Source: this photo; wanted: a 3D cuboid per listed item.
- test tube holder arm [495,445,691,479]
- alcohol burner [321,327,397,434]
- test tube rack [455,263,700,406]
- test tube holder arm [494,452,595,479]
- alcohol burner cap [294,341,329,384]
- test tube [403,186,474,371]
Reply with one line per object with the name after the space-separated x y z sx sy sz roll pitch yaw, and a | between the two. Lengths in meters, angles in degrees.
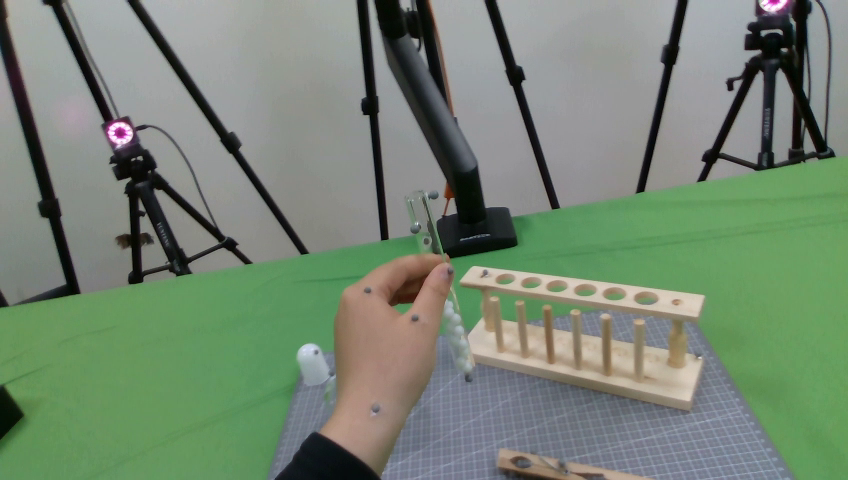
0.145 0.189 0.498 0.177 0.015 0.013 1 64 24 | test tube holder arm
-0.068 0.133 0.597 0.078 0.120 0.077 -9 29 5 | alcohol burner
0.145 0.088 0.618 0.241 0.086 0.066 6 33 33 | test tube rack
0.103 0.193 0.513 0.087 0.015 0.010 2 65 24 | test tube holder arm
-0.131 0.137 0.694 0.034 0.048 0.033 -9 29 5 | alcohol burner cap
0.013 0.032 0.433 0.017 0.151 0.017 -14 24 7 | test tube
